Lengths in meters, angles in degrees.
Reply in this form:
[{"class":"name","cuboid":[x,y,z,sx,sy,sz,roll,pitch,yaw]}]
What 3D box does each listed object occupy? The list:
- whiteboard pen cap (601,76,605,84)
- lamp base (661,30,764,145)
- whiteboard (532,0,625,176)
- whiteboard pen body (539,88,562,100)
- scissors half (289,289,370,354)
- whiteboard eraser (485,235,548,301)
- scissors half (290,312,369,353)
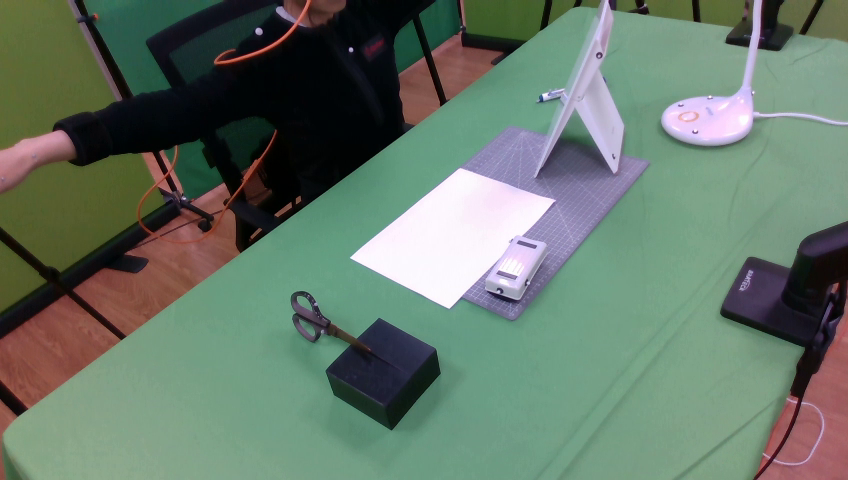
[{"class":"whiteboard pen cap","cuboid":[0.372,-0.341,1.305,0.033,0.018,0.018,-17,41,-1]},{"class":"lamp base","cuboid":[0.535,-0.287,1.096,0.179,0.181,0.159,-10,40,-4]},{"class":"whiteboard","cuboid":[0.320,-0.259,1.050,0.144,0.306,0.217,21,45,5]},{"class":"whiteboard pen body","cuboid":[0.315,-0.324,1.303,0.141,0.017,0.017,-15,41,-2]},{"class":"scissors half","cuboid":[-0.128,0.110,0.809,0.013,0.040,0.173,-17,35,-43]},{"class":"whiteboard eraser","cuboid":[0.137,0.042,0.887,0.055,0.042,0.113,15,46,27]},{"class":"scissors half","cuboid":[-0.128,0.129,0.816,0.013,0.040,0.173,-23,21,-40]}]
